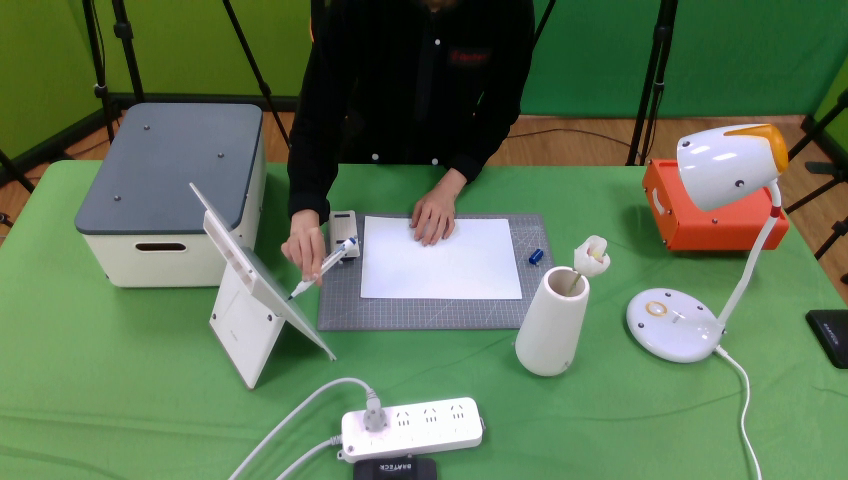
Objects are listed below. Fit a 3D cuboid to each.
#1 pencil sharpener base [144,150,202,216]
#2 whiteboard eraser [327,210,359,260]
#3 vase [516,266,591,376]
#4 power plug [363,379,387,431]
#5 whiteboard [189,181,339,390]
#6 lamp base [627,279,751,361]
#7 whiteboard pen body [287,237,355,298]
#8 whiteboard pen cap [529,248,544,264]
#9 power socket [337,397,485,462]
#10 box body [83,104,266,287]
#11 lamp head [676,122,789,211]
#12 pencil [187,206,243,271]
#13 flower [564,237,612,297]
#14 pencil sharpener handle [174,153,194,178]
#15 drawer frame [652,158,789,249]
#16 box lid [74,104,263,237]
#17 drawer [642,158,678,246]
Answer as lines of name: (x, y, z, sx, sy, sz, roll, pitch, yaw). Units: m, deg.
pencil sharpener base: (-0.493, -0.113, 1.199, 0.061, 0.107, 0.076, 15, 47, 11)
whiteboard eraser: (-0.159, -0.009, 1.177, 0.055, 0.042, 0.112, -6, 47, -7)
vase: (0.208, 0.132, 0.964, 0.098, 0.201, 0.097, 3, 46, -3)
power plug: (-0.072, 0.252, 0.910, 0.035, 0.053, 0.072, 3, 45, -1)
whiteboard: (-0.292, 0.096, 0.929, 0.144, 0.307, 0.216, -37, 57, -10)
lamp base: (0.460, 0.100, 1.027, 0.178, 0.181, 0.160, 27, 51, 17)
whiteboard pen body: (-0.164, 0.045, 0.962, 0.140, 0.017, 0.017, -43, 60, -10)
whiteboard pen cap: (0.219, 0.032, 1.183, 0.018, 0.018, 0.033, 31, 51, 23)
power socket: (-0.018, 0.285, 0.915, 0.227, 0.033, 0.071, -5, 46, -8)
box body: (-0.447, -0.088, 1.150, 0.254, 0.161, 0.361, -1, 46, -5)
lamp head: (0.423, -0.104, 0.819, 0.122, 0.113, 0.112, -13, 33, 40)
pencil: (-0.401, -0.009, 1.176, 0.012, 0.012, 0.193, 15, 44, 10)
flower: (0.206, 0.088, 0.892, 0.038, 0.363, 0.044, -16, 67, -9)
pencil sharpener handle: (-0.479, -0.156, 1.225, 0.036, 0.068, 0.030, 24, 48, 2)
drawer frame: (0.571, -0.075, 1.214, 0.214, 0.083, 0.200, 0, 45, -1)
box lid: (-0.443, -0.139, 1.095, 0.263, 0.015, 0.369, -1, 45, -5)
drawer: (0.566, -0.076, 1.212, 0.212, 0.073, 0.193, 2, 45, -2)
